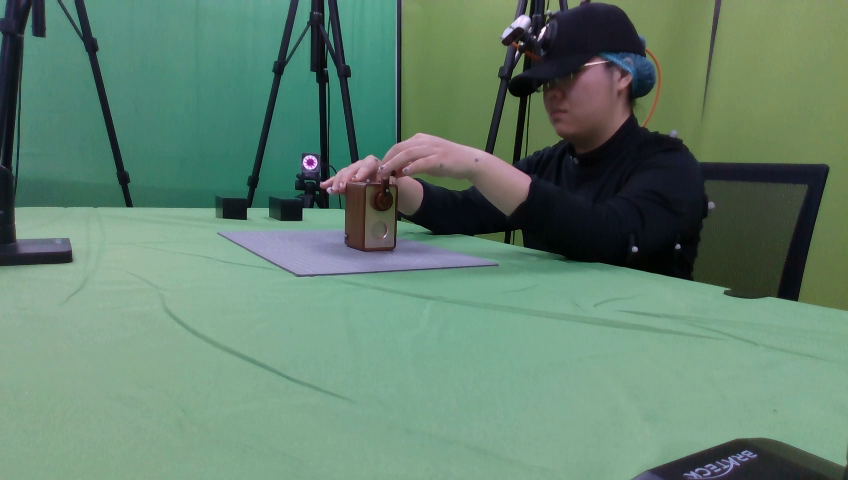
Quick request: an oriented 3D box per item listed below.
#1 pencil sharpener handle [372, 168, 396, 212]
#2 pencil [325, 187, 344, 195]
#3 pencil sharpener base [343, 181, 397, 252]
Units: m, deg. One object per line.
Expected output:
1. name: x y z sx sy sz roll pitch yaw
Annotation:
1. pencil sharpener handle: -0.055 -0.074 0.910 0.036 0.067 0.030 -2 9 -33
2. pencil: -0.126 -0.077 1.021 0.012 0.012 0.193 -2 10 -32
3. pencil sharpener base: -0.085 -0.038 0.957 0.062 0.107 0.076 -2 9 -33
